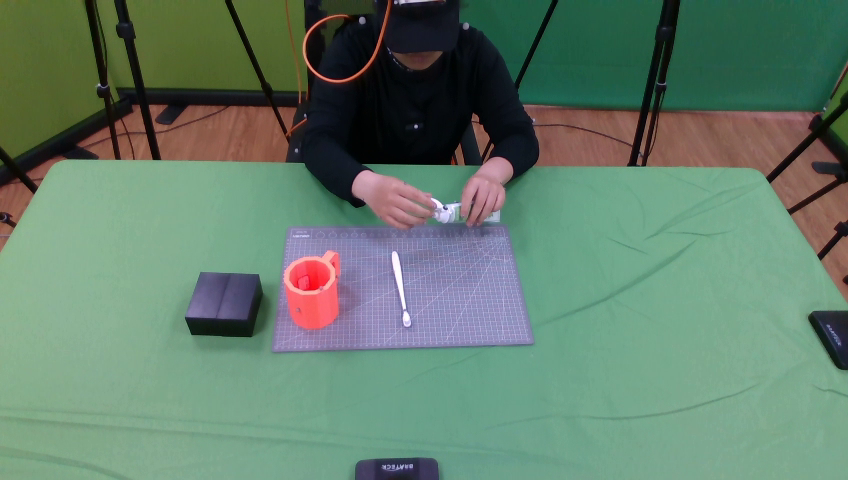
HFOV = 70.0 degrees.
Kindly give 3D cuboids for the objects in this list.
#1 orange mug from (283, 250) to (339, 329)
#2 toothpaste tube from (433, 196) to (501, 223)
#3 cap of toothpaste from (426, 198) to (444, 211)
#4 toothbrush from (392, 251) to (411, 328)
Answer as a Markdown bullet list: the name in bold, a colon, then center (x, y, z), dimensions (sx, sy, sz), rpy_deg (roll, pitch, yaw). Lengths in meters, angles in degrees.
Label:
- **orange mug**: center (-0.186, 0.079, 1.052), dimensions (0.083, 0.101, 0.126), rpy_deg (20, 52, 15)
- **toothpaste tube**: center (0.086, -0.057, 1.177), dimensions (0.165, 0.055, 0.034), rpy_deg (-5, 20, -35)
- **cap of toothpaste**: center (0.019, -0.064, 1.115), dimensions (0.037, 0.011, 0.037), rpy_deg (24, 27, -13)
- **toothbrush**: center (-0.044, 0.085, 1.112), dimensions (0.014, 0.017, 0.180), rpy_deg (-13, 46, 0)
